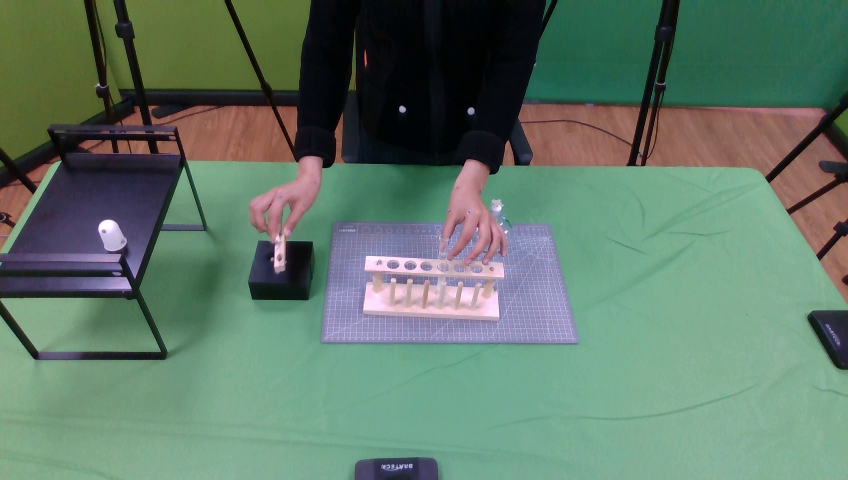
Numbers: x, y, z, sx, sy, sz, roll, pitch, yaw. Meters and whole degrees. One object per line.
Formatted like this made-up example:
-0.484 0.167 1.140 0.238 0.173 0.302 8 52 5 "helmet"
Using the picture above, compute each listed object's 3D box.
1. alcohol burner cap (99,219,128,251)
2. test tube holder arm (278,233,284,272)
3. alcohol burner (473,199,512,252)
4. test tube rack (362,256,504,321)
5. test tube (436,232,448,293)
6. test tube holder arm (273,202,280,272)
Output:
-0.467 -0.010 0.907 0.034 0.048 0.033 2 47 -2 "alcohol burner cap"
-0.245 0.020 1.037 0.010 0.015 0.087 -1 41 -13 "test tube holder arm"
0.135 -0.033 1.174 0.078 0.120 0.077 1 47 -1 "alcohol burner"
0.015 0.086 1.069 0.242 0.085 0.066 3 45 -2 "test tube rack"
0.030 0.042 1.042 0.017 0.151 0.017 1 48 -1 "test tube"
-0.260 -0.009 1.068 0.013 0.015 0.177 -2 41 -15 "test tube holder arm"
